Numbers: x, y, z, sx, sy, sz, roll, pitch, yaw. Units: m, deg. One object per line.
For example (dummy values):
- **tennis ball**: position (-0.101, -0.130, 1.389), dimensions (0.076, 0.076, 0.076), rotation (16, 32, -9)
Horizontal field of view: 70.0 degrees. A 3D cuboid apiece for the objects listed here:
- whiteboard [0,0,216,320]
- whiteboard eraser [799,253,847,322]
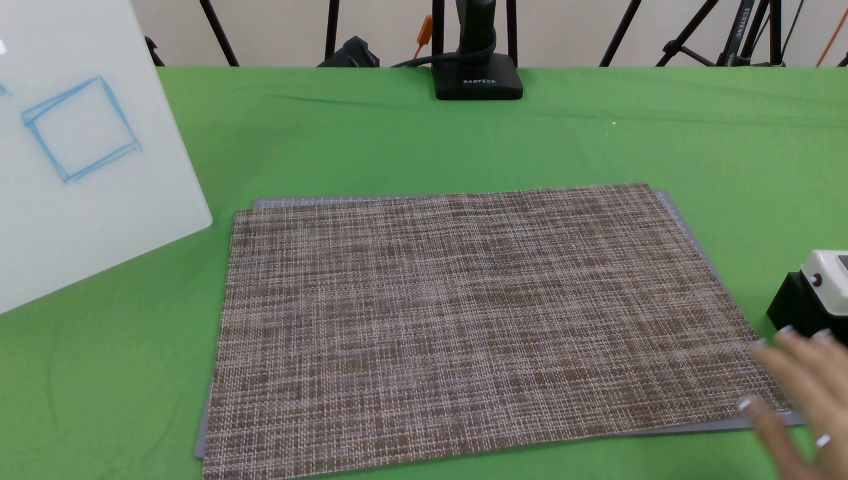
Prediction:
- **whiteboard**: position (-0.359, -0.118, 0.538), dimensions (0.217, 0.308, 0.142), rotation (-28, 30, -29)
- **whiteboard eraser**: position (0.358, 0.039, 0.471), dimensions (0.113, 0.042, 0.055), rotation (1, 39, -1)
